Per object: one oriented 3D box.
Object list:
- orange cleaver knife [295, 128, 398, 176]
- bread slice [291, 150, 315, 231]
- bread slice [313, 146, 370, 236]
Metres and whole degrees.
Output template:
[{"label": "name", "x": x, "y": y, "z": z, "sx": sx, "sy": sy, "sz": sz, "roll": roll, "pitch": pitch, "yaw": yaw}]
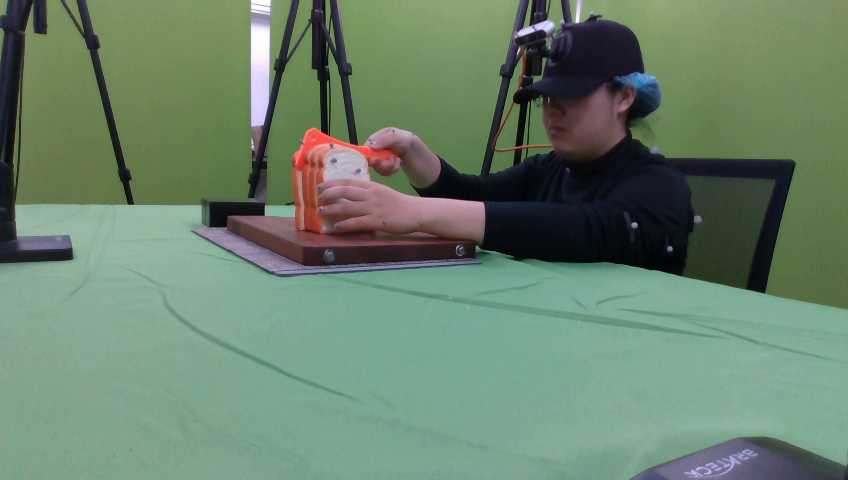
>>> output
[{"label": "orange cleaver knife", "x": -0.121, "y": -0.132, "z": 0.986, "sx": 0.012, "sy": 0.077, "sz": 0.212, "roll": 11, "pitch": 6, "yaw": 40}, {"label": "bread slice", "x": -0.165, "y": -0.081, "z": 0.955, "sx": 0.019, "sy": 0.131, "sz": 0.105, "roll": -8, "pitch": -1, "yaw": 39}, {"label": "bread slice", "x": -0.126, "y": -0.075, "z": 0.920, "sx": 0.018, "sy": 0.134, "sz": 0.107, "roll": 8, "pitch": 13, "yaw": 39}]
